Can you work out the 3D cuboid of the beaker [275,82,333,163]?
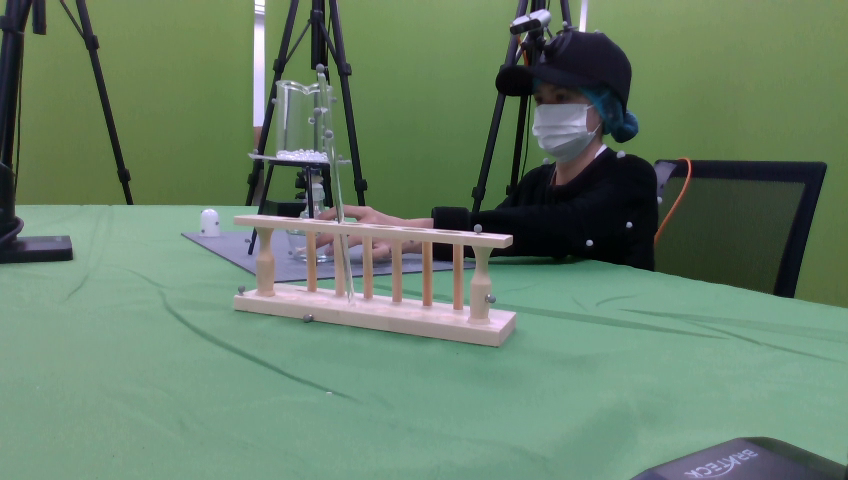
[{"bbox_3d":[-0.159,-0.152,0.795,0.074,0.100,0.083,1,8,-15],"label":"beaker"}]

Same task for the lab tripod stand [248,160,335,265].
[{"bbox_3d":[-0.165,-0.041,0.817,0.148,0.131,0.148,5,7,0],"label":"lab tripod stand"}]

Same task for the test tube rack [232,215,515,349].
[{"bbox_3d":[-0.045,0.028,0.526,0.242,0.085,0.067,5,8,19],"label":"test tube rack"}]

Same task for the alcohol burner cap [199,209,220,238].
[{"bbox_3d":[-0.356,-0.027,1.002,0.034,0.048,0.034,2,7,0],"label":"alcohol burner cap"}]

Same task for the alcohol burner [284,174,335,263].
[{"bbox_3d":[-0.148,-0.029,0.811,0.078,0.119,0.078,2,10,0],"label":"alcohol burner"}]

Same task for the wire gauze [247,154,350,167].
[{"bbox_3d":[-0.170,-0.105,0.803,0.122,0.011,0.124,-1,11,-20],"label":"wire gauze"}]

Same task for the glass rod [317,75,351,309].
[{"bbox_3d":[-0.075,-0.036,0.502,0.008,0.199,0.008,-6,8,1],"label":"glass rod"}]
